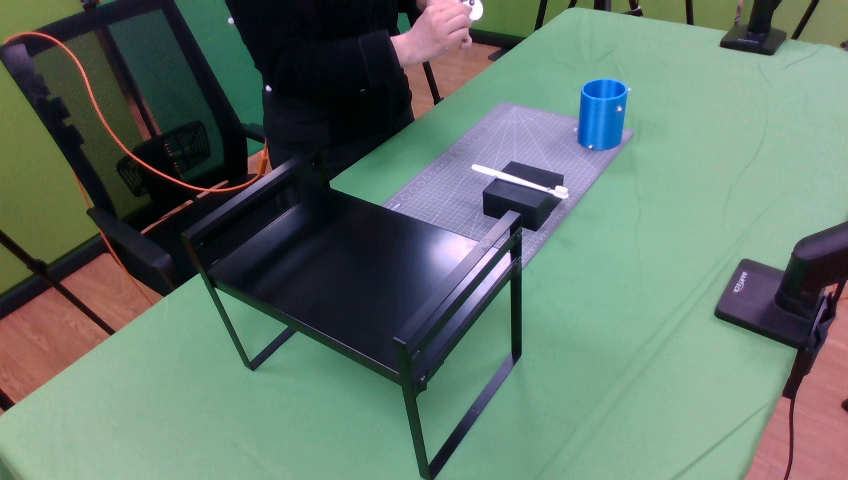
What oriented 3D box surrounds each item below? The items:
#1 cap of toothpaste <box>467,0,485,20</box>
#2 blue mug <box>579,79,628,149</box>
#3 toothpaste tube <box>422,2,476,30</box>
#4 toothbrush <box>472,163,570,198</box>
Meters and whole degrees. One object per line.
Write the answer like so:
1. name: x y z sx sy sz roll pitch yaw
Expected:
1. cap of toothpaste: 0.086 -0.391 1.026 0.037 0.037 0.011 -30 23 -23
2. blue mug: 0.336 -0.246 1.143 0.082 0.106 0.116 0 41 10
3. toothpaste tube: 0.054 -0.400 1.098 0.055 0.034 0.164 -6 10 -25
4. toothbrush: 0.157 -0.101 0.996 0.180 0.017 0.014 22 55 30
